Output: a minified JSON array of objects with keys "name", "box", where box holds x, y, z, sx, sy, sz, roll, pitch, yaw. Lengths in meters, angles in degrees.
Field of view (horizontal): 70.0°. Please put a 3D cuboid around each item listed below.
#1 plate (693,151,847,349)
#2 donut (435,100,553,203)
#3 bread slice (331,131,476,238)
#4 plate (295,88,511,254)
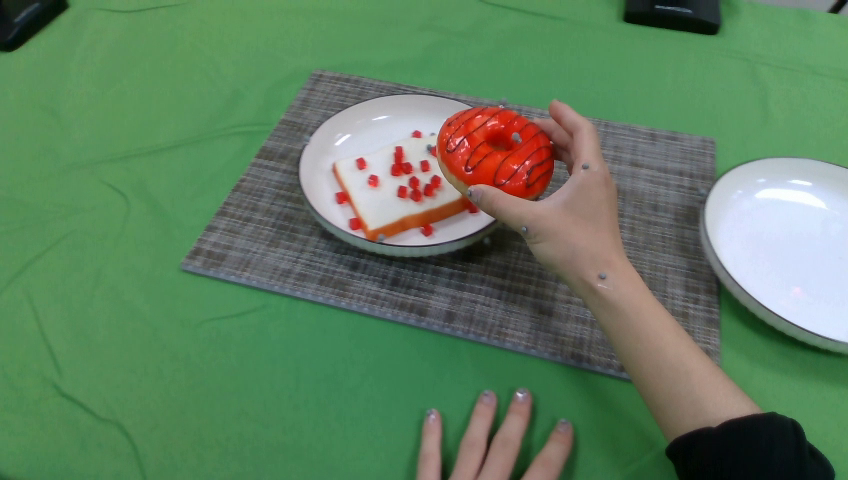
[{"name":"plate","box":[0.335,0.008,0.520,0.208,0.039,0.205,0,51,0]},{"name":"donut","box":[0.056,-0.073,0.488,0.099,0.048,0.098,8,53,-11]},{"name":"bread slice","box":[-0.013,-0.061,0.572,0.132,0.019,0.103,-20,54,-15]},{"name":"plate","box":[-0.015,-0.066,0.573,0.209,0.038,0.207,0,51,0]}]
